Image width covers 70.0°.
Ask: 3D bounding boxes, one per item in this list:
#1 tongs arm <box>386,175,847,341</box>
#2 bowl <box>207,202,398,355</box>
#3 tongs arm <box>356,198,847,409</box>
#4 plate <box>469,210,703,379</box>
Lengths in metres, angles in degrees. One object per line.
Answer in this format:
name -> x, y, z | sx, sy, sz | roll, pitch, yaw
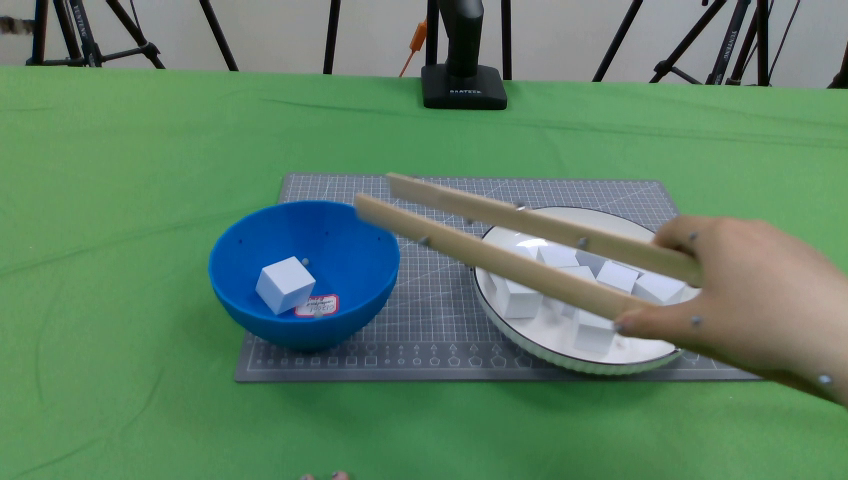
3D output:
tongs arm -> 0.127, 0.019, 0.407 | 0.382, 0.027, 0.050 | 17, 41, 24
bowl -> -0.097, 0.042, 0.508 | 0.151, 0.077, 0.150 | 3, 39, -2
tongs arm -> 0.112, 0.033, 0.390 | 0.385, 0.028, 0.028 | 19, 39, 26
plate -> 0.143, 0.048, 0.555 | 0.208, 0.039, 0.205 | 3, 39, -2
